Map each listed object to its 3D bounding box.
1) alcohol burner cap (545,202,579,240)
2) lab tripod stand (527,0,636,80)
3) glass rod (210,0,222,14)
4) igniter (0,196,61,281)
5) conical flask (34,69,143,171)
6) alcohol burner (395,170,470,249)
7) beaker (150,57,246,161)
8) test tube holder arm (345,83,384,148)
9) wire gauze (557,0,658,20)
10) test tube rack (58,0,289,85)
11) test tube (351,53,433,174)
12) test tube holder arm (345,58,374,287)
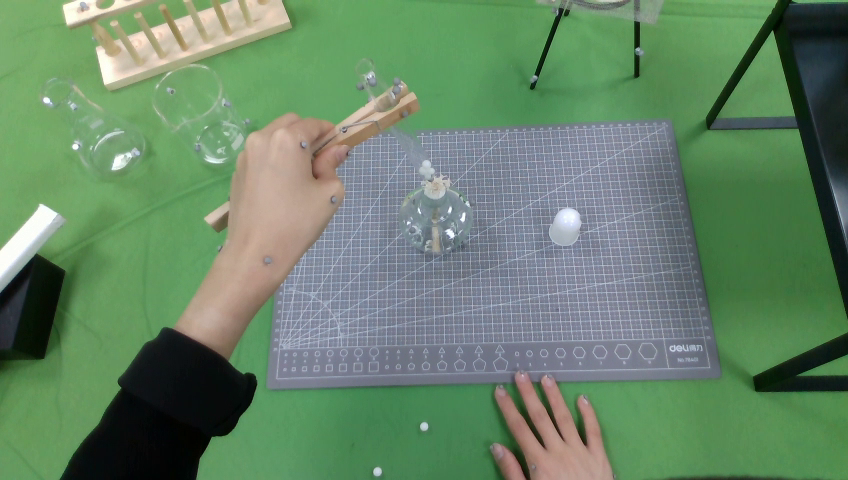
[{"bbox_3d":[0.148,-0.023,0.640,0.034,0.048,0.033,-1,68,2],"label":"alcohol burner cap"},{"bbox_3d":[0.185,-0.257,0.686,0.148,0.132,0.147,0,67,1],"label":"lab tripod stand"},{"bbox_3d":[-0.280,-0.340,0.695,0.008,0.201,0.008,-4,61,8],"label":"glass rod"},{"bbox_3d":[-0.463,0.072,0.590,0.057,0.025,0.275,25,71,22],"label":"igniter"},{"bbox_3d":[-0.374,-0.136,0.669,0.075,0.123,0.075,-1,68,3],"label":"conical flask"},{"bbox_3d":[0.008,-0.037,0.613,0.078,0.120,0.077,0,67,1],"label":"alcohol burner"},{"bbox_3d":[-0.248,-0.139,0.677,0.074,0.101,0.083,13,69,9],"label":"beaker"},{"bbox_3d":[-0.047,-0.090,0.465,0.015,0.088,0.010,4,66,-16],"label":"test tube holder arm"},{"bbox_3d":[0.189,-0.284,0.624,0.121,0.011,0.124,19,71,8],"label":"wire gauze"},{"bbox_3d":[-0.300,-0.281,0.744,0.242,0.086,0.066,-21,68,-6],"label":"test tube rack"},{"bbox_3d":[-0.021,-0.094,0.483,0.017,0.152,0.017,-8,64,16],"label":"test tube"},{"bbox_3d":[-0.052,-0.051,0.478,0.015,0.013,0.178,1,95,-20],"label":"test tube holder arm"}]
